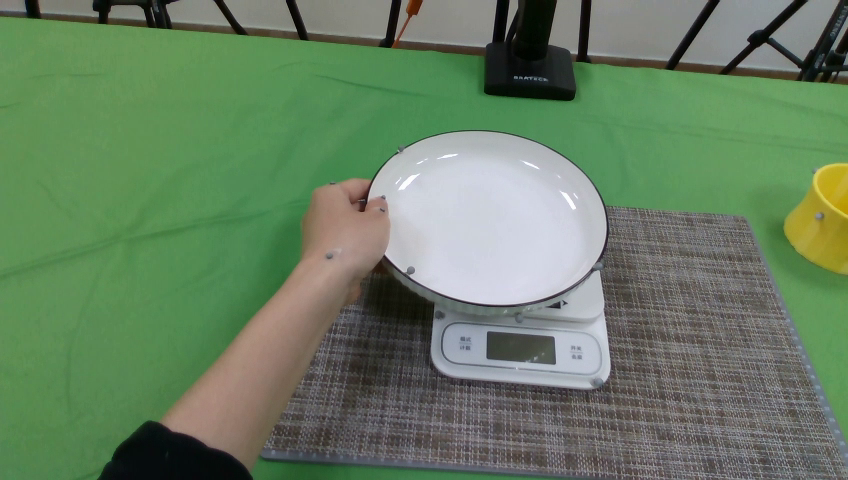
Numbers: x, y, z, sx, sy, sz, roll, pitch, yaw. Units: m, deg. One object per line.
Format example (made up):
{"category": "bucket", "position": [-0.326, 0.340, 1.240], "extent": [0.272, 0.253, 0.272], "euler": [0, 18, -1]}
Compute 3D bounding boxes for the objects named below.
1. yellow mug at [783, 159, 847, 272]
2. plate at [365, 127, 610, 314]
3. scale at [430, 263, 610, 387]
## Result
{"category": "yellow mug", "position": [0.439, -0.017, 0.603], "extent": [0.100, 0.064, 0.129], "euler": [-31, 56, -28]}
{"category": "plate", "position": [0.053, -0.020, 0.527], "extent": [0.209, 0.038, 0.207], "euler": [1, 50, -1]}
{"category": "scale", "position": [0.085, 0.036, 0.549], "extent": [0.149, 0.032, 0.199], "euler": [5, 47, 1]}
